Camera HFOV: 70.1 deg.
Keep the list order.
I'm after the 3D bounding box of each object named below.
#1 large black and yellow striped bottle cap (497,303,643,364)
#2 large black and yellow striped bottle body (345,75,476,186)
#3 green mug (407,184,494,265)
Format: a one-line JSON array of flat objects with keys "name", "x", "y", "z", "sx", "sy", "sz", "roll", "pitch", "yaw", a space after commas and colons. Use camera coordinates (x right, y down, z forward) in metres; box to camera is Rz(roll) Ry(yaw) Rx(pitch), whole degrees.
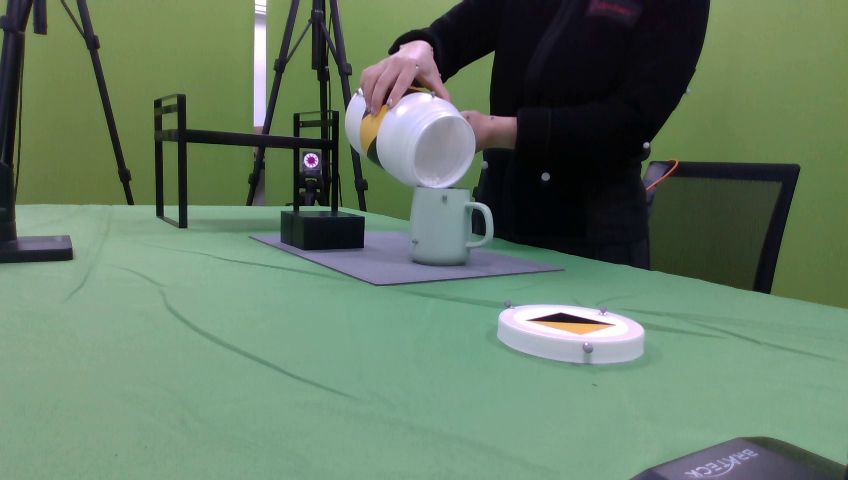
[{"name": "large black and yellow striped bottle cap", "x": 0.117, "y": 0.072, "z": 0.486, "sx": 0.115, "sy": 0.019, "sz": 0.115, "roll": 1, "pitch": 8, "yaw": 0}, {"name": "large black and yellow striped bottle body", "x": -0.021, "y": -0.158, "z": 0.886, "sx": 0.131, "sy": 0.130, "sz": 0.183, "roll": -3, "pitch": 27, "yaw": -36}, {"name": "green mug", "x": 0.038, "y": -0.021, "z": 0.827, "sx": 0.125, "sy": 0.105, "sz": 0.093, "roll": 6, "pitch": 8, "yaw": 30}]
